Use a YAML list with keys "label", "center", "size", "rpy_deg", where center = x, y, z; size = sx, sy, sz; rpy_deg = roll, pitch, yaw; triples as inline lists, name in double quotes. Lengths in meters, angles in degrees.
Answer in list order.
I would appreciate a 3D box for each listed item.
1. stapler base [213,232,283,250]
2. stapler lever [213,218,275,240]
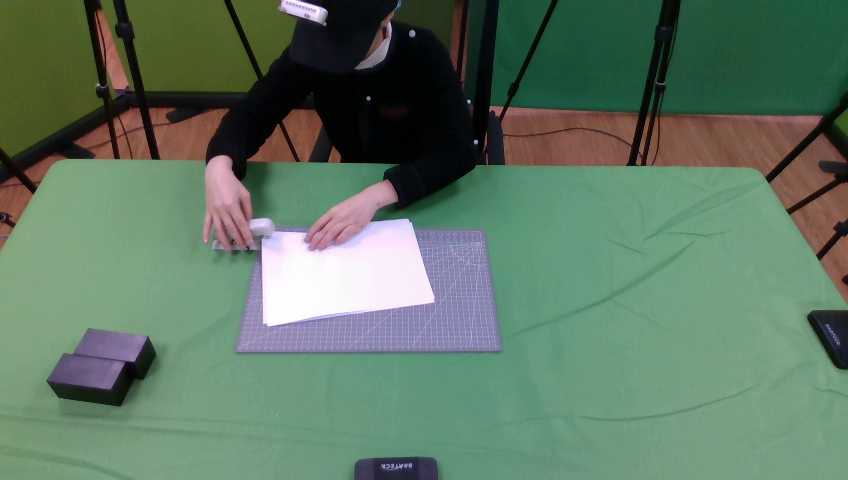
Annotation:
- label: "stapler base"
  center: [-0.341, -0.004, 1.170]
  size: [0.130, 0.024, 0.041]
  rpy_deg: [-1, 45, 0]
- label: "stapler lever"
  center: [-0.343, -0.020, 1.151]
  size: [0.118, 0.040, 0.026]
  rpy_deg: [-1, 45, 1]
